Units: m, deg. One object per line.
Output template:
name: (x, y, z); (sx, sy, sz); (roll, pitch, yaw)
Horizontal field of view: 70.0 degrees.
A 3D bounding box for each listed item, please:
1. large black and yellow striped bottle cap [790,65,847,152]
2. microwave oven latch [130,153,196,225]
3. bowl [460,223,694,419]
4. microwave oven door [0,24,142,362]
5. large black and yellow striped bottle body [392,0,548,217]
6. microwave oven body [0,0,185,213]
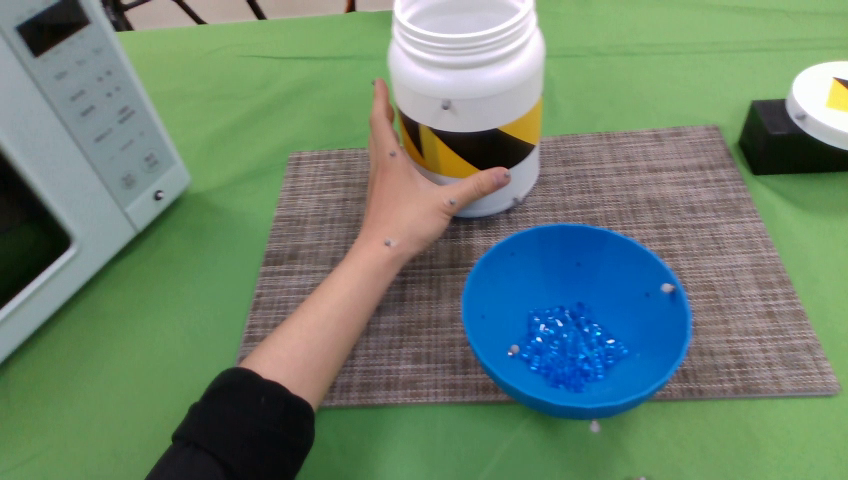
large black and yellow striped bottle cap: (0.393, -0.118, 0.541); (0.115, 0.019, 0.114); (-4, 48, 5)
microwave oven latch: (-0.260, -0.053, 0.591); (0.030, 0.030, 0.079); (22, 55, 23)
bowl: (0.103, 0.068, 0.433); (0.151, 0.077, 0.150); (-4, 48, 4)
microwave oven door: (-0.378, 0.029, 0.396); (0.039, 0.246, 0.354); (19, 54, 23)
large black and yellow striped bottle body: (0.042, -0.126, 0.539); (0.131, 0.186, 0.129); (-3, 49, 4)
microwave oven body: (-0.484, -0.041, 0.477); (0.324, 0.263, 0.440); (20, 55, 22)
